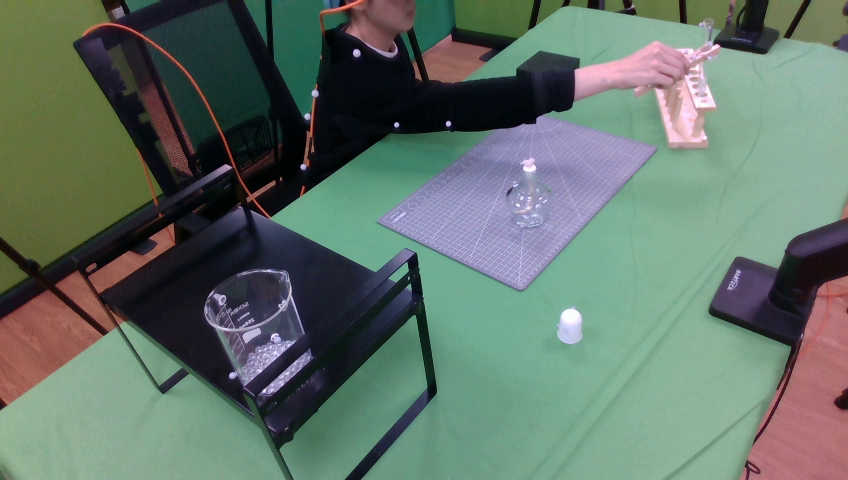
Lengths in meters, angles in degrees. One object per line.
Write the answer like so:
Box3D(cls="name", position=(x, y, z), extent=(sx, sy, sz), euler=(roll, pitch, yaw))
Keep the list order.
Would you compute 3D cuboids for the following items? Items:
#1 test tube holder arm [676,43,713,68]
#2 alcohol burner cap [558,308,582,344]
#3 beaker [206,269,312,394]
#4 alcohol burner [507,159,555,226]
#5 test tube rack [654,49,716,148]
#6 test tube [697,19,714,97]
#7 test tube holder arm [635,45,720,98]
Box3D(cls="test tube holder arm", position=(0.461, -0.310, 1.031), extent=(0.088, 0.015, 0.010), euler=(-36, 45, -18))
Box3D(cls="alcohol burner cap", position=(0.195, 0.111, 0.802), extent=(0.034, 0.048, 0.033), euler=(-4, 39, 4))
Box3D(cls="beaker", position=(-0.146, 0.086, 0.560), extent=(0.073, 0.101, 0.084), euler=(19, 46, 27))
Box3D(cls="alcohol burner", position=(0.172, -0.081, 0.969), extent=(0.078, 0.119, 0.077), euler=(-4, 42, 4))
Box3D(cls="test tube rack", position=(0.502, -0.281, 1.176), extent=(0.066, 0.085, 0.241), euler=(2, 41, 11))
Box3D(cls="test tube", position=(0.486, -0.310, 1.044), extent=(0.017, 0.151, 0.017), euler=(-9, 47, 11))
Box3D(cls="test tube holder arm", position=(0.427, -0.284, 1.016), extent=(0.179, 0.015, 0.013), euler=(-30, 44, -13))
